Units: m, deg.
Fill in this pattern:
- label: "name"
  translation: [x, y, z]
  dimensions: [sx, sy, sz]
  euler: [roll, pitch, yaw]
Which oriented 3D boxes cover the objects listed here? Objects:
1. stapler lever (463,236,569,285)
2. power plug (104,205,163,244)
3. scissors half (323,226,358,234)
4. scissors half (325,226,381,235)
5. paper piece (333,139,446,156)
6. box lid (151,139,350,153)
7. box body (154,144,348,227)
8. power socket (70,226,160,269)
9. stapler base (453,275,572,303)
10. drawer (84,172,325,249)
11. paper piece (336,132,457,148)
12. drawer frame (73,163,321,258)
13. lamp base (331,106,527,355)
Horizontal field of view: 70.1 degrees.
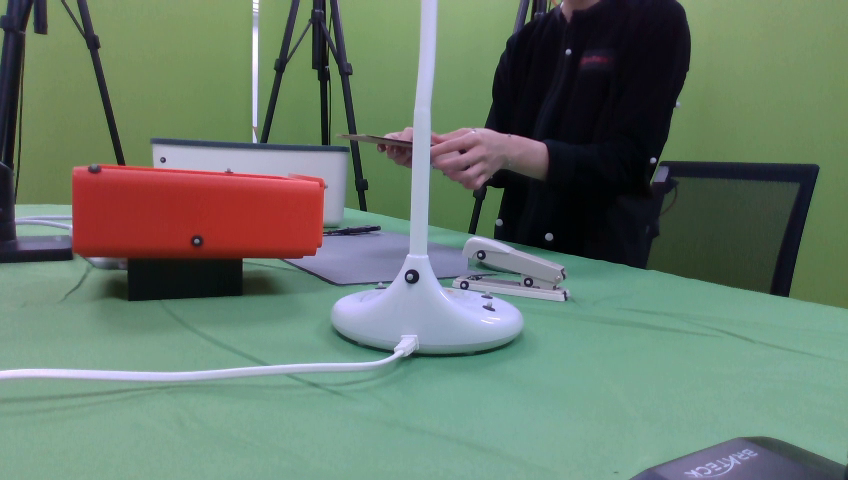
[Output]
- label: "stapler lever"
  translation: [0.100, 0.022, 0.666]
  dimensions: [0.117, 0.040, 0.027]
  euler: [8, 12, 23]
- label: "power plug"
  translation: [-0.390, -0.021, 0.815]
  dimensions: [0.073, 0.052, 0.035]
  euler: [-1, 7, -27]
- label: "scissors half"
  translation: [-0.166, -0.015, 1.094]
  dimensions: [0.040, 0.013, 0.176]
  euler: [2, 6, 39]
- label: "scissors half"
  translation: [-0.152, -0.014, 1.079]
  dimensions: [0.176, 0.013, 0.040]
  euler: [-7, 2, -33]
- label: "paper piece"
  translation: [-0.053, -0.137, 0.884]
  dimensions: [0.136, 0.004, 0.135]
  euler: [2, 14, -21]
- label: "box lid"
  translation: [-0.352, -0.191, 1.256]
  dimensions: [0.373, 0.015, 0.262]
  euler: [0, 8, -18]
- label: "box body"
  translation: [-0.357, -0.119, 1.264]
  dimensions: [0.365, 0.160, 0.253]
  euler: [0, 7, -18]
- label: "power socket"
  translation: [-0.409, 0.004, 0.793]
  dimensions: [0.072, 0.032, 0.225]
  euler: [-2, 8, -38]
- label: "stapler base"
  translation: [0.097, 0.047, 0.670]
  dimensions: [0.130, 0.024, 0.041]
  euler: [7, 12, 23]
- label: "drawer"
  translation: [-0.227, -0.036, 0.638]
  dimensions: [0.213, 0.073, 0.193]
  euler: [-1, 9, -23]
- label: "paper piece"
  translation: [-0.044, -0.145, 0.880]
  dimensions: [0.139, 0.008, 0.135]
  euler: [5, 8, -28]
- label: "drawer frame"
  translation: [-0.232, -0.034, 0.635]
  dimensions: [0.214, 0.082, 0.201]
  euler: [1, 8, -23]
- label: "lamp base"
  translation: [0.006, -0.012, 0.478]
  dimensions: [0.161, 0.180, 0.179]
  euler: [2, 10, 2]
